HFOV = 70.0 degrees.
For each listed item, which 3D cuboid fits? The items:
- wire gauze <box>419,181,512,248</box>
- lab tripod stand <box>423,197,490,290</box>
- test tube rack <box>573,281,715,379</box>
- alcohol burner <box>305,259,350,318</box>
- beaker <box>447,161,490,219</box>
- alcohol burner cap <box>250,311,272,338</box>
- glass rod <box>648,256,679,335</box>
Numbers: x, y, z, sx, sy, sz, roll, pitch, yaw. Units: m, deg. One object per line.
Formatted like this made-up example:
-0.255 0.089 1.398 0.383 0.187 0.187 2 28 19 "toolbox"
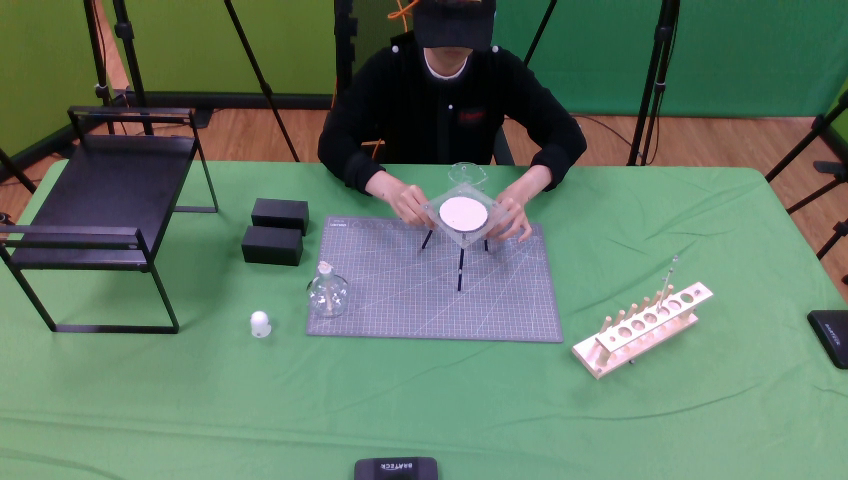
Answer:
0.072 -0.052 1.073 0.121 0.011 0.124 -31 55 -28 "wire gauze"
0.065 -0.003 1.119 0.148 0.132 0.147 1 47 -1 "lab tripod stand"
0.378 0.140 1.038 0.242 0.085 0.066 -22 51 -22 "test tube rack"
-0.166 0.078 1.040 0.078 0.120 0.077 1 44 -1 "alcohol burner"
0.088 -0.099 1.243 0.084 0.101 0.073 5 46 1 "beaker"
-0.278 0.141 1.025 0.034 0.048 0.033 1 47 -1 "alcohol burner cap"
0.390 0.095 0.990 0.008 0.201 0.008 -2 45 2 "glass rod"
